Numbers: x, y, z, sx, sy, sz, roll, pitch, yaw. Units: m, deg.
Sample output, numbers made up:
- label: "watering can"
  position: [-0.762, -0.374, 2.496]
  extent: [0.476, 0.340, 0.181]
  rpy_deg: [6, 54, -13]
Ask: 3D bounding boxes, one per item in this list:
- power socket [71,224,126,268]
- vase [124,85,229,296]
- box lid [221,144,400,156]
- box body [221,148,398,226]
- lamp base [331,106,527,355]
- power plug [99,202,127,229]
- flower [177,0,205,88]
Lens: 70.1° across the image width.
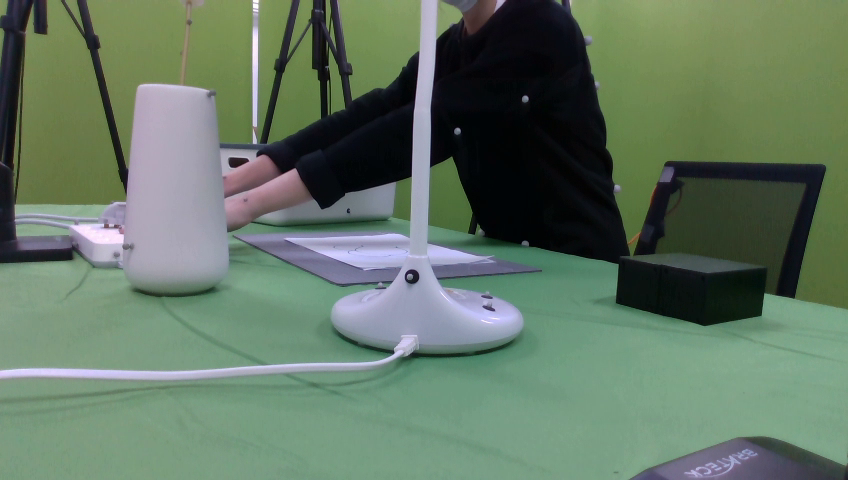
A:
- label: "power socket"
  position: [-0.409, 0.004, 0.793]
  extent: [0.072, 0.032, 0.225]
  rpy_deg: [-2, 8, -37]
- label: "vase"
  position: [-0.244, -0.047, 0.598]
  extent: [0.098, 0.200, 0.098]
  rpy_deg: [3, 8, 0]
- label: "box lid"
  position: [-0.263, -0.202, 1.369]
  extent: [0.262, 0.015, 0.373]
  rpy_deg: [9, 10, 39]
- label: "box body"
  position: [-0.264, -0.129, 1.380]
  extent: [0.253, 0.160, 0.366]
  rpy_deg: [8, 9, 39]
- label: "lamp base"
  position: [0.006, -0.012, 0.478]
  extent: [0.161, 0.180, 0.179]
  rpy_deg: [2, 10, 2]
- label: "power plug"
  position: [-0.414, -0.026, 0.847]
  extent: [0.073, 0.052, 0.035]
  rpy_deg: [5, 5, -26]
- label: "flower"
  position: [-0.243, -0.131, 0.609]
  extent: [0.044, 0.361, 0.038]
  rpy_deg: [-5, -12, 11]
